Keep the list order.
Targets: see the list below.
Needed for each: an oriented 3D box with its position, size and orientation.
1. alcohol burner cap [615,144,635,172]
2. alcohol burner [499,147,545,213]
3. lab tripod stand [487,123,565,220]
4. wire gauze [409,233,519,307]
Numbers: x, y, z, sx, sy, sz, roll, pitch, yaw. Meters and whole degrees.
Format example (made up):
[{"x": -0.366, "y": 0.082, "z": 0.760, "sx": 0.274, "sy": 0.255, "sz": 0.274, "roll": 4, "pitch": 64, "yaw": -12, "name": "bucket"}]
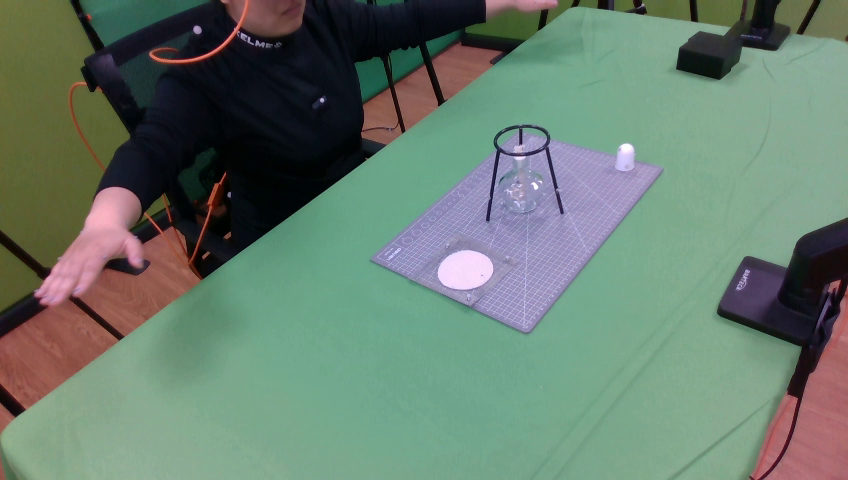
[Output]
[{"x": 0.357, "y": -0.147, "z": 1.069, "sx": 0.034, "sy": 0.048, "sz": 0.033, "roll": -7, "pitch": 40, "yaw": 6, "name": "alcohol burner cap"}, {"x": 0.161, "y": -0.104, "z": 1.001, "sx": 0.078, "sy": 0.120, "sz": 0.077, "roll": -6, "pitch": 42, "yaw": 6, "name": "alcohol burner"}, {"x": 0.162, "y": -0.110, "z": 0.992, "sx": 0.148, "sy": 0.132, "sz": 0.147, "roll": -5, "pitch": 42, "yaw": 5, "name": "lab tripod stand"}, {"x": 0.061, "y": 0.045, "z": 0.925, "sx": 0.120, "sy": 0.011, "sz": 0.125, "roll": 25, "pitch": 52, "yaw": 35, "name": "wire gauze"}]
